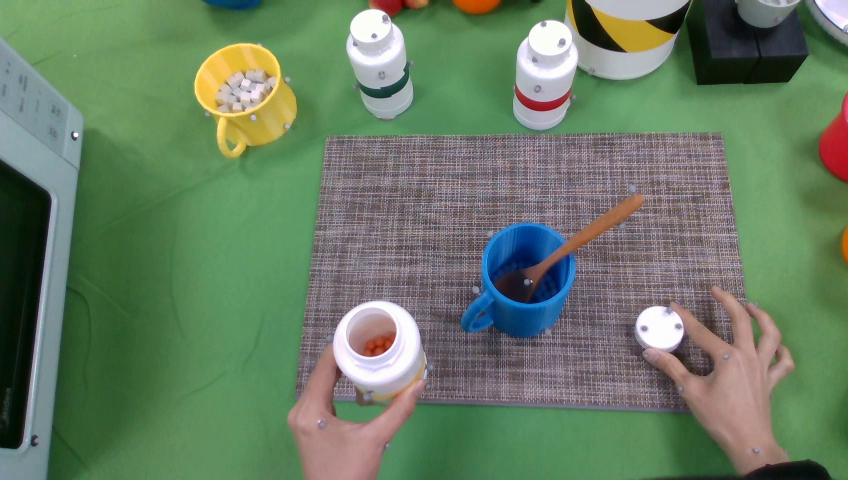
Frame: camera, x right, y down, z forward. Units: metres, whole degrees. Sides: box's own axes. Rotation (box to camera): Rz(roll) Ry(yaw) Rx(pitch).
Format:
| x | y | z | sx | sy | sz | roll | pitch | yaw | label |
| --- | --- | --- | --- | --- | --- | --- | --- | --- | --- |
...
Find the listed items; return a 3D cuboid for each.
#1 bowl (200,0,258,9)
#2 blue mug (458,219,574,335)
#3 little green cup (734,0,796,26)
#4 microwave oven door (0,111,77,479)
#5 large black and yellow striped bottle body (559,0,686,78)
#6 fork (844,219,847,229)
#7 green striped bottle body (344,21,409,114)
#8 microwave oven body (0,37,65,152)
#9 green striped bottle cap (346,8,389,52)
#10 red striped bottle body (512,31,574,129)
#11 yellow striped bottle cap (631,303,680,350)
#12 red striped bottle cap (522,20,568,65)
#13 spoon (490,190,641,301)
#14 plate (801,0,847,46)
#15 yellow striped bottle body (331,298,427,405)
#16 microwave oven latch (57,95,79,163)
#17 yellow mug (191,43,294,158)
| x | y | z | sx | sy | sz | roll | pitch | yaw | label |
| --- | --- | --- | --- | --- | --- | --- | --- | --- | --- |
| -0.252 | -0.355 | 0.780 | 0.151 | 0.077 | 0.150 | -2 | 69 | 4 | bowl |
| 0.081 | 0.048 | 0.575 | 0.116 | 0.106 | 0.081 | -35 | 69 | -8 | blue mug |
| 0.369 | -0.265 | 0.655 | 0.061 | 0.039 | 0.061 | -1 | 67 | 2 | little green cup |
| -0.411 | 0.037 | 0.536 | 0.039 | 0.245 | 0.353 | -9 | 68 | 3 | microwave oven door |
| 0.219 | -0.280 | 0.651 | 0.130 | 0.185 | 0.130 | -2 | 69 | 5 | large black and yellow striped bottle body |
| 0.476 | 0.012 | 0.533 | 0.028 | 0.019 | 0.205 | -37 | 26 | -8 | fork |
| -0.053 | -0.199 | 0.679 | 0.063 | 0.120 | 0.062 | -2 | 68 | 4 | green striped bottle body |
| -0.560 | 0.021 | 0.561 | 0.326 | 0.262 | 0.438 | -8 | 69 | 2 | microwave oven body |
| -0.059 | -0.218 | 0.631 | 0.044 | 0.020 | 0.044 | -1 | 68 | 4 | green striped bottle cap |
| 0.127 | -0.178 | 0.654 | 0.063 | 0.120 | 0.062 | -3 | 67 | 7 | red striped bottle body |
| 0.226 | 0.084 | 0.593 | 0.044 | 0.019 | 0.044 | -5 | 65 | 11 | yellow striped bottle cap |
| 0.121 | -0.198 | 0.606 | 0.044 | 0.018 | 0.044 | 0 | 67 | 1 | red striped bottle cap |
| 0.117 | 0.013 | 0.539 | 0.022 | 0.194 | 0.041 | -1 | 61 | -34 | spoon |
| 0.540 | -0.294 | 0.705 | 0.209 | 0.038 | 0.207 | -2 | 69 | 5 | plate |
| -0.033 | 0.084 | 0.460 | 0.063 | 0.121 | 0.062 | -2 | 65 | 4 | yellow striped bottle body |
| -0.426 | -0.128 | 0.709 | 0.030 | 0.030 | 0.078 | -6 | 69 | 3 | microwave oven latch |
| -0.215 | -0.157 | 0.706 | 0.100 | 0.064 | 0.130 | 10 | 71 | 9 | yellow mug |
